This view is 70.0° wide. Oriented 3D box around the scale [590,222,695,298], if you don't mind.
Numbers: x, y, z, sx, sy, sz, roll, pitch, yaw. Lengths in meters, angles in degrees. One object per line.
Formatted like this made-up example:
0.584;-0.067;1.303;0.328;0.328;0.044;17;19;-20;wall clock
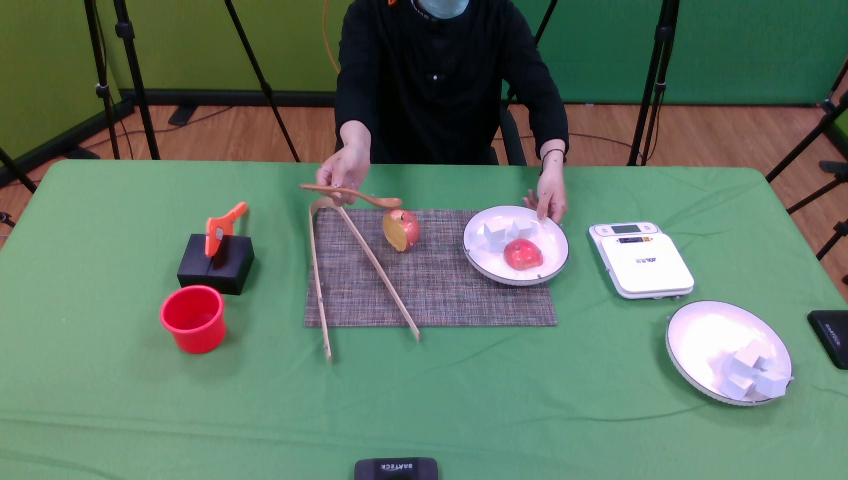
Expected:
0.424;0.031;1.189;0.149;0.032;0.199;-3;46;-7;scale

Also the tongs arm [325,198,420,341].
-0.101;0.042;1.140;0.028;0.028;0.385;-22;51;-18;tongs arm

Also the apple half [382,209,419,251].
-0.039;-0.022;1.175;0.053;0.075;0.080;-26;50;-31;apple half

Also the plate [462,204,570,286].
0.177;0.013;1.180;0.209;0.038;0.208;2;46;-2;plate

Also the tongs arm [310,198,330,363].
-0.180;0.058;1.117;0.051;0.026;0.382;-9;47;-11;tongs arm

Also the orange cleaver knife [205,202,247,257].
-0.374;-0.024;1.151;0.012;0.077;0.210;4;16;1;orange cleaver knife

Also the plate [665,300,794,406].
0.513;0.194;1.033;0.208;0.039;0.206;2;46;-2;plate

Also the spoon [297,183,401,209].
-0.126;-0.080;1.045;0.194;0.021;0.041;12;23;-33;spoon

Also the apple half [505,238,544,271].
0.193;0.020;1.167;0.081;0.033;0.081;3;48;-3;apple half
